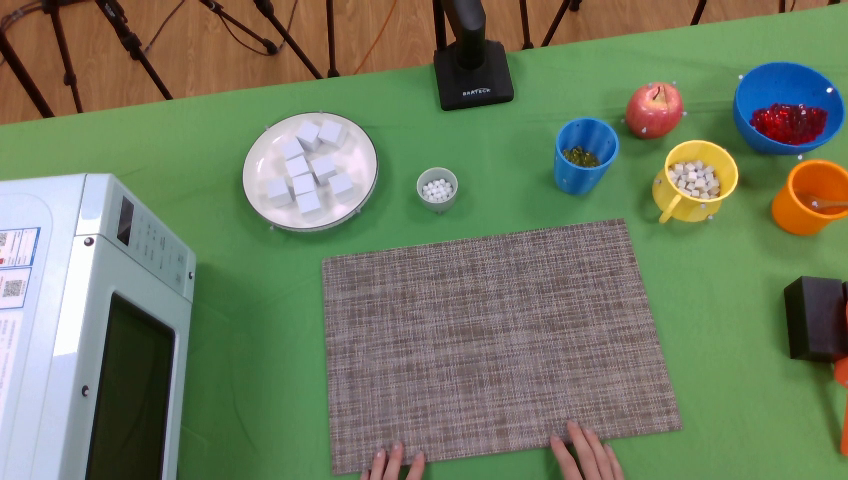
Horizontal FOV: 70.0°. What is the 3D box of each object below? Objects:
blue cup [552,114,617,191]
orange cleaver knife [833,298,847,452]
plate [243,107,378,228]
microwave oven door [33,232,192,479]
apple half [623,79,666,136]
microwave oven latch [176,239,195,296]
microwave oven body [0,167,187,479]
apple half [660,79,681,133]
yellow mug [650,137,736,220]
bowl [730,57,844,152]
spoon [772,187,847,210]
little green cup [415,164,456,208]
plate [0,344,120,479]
[{"bbox_3d":[0.225,-0.119,0.877,0.092,0.101,0.092,-1,68,3],"label":"blue cup"},{"bbox_3d":[0.529,0.154,0.751,0.012,0.077,0.211,6,97,9],"label":"orange cleaver knife"},{"bbox_3d":[-0.171,-0.109,0.933,0.207,0.039,0.206,-1,67,3],"label":"plate"},{"bbox_3d":[-0.341,0.199,0.682,0.039,0.245,0.353,-5,66,2],"label":"microwave oven door"},{"bbox_3d":[0.330,-0.199,0.920,0.053,0.075,0.080,-4,70,6],"label":"apple half"},{"bbox_3d":[-0.345,0.039,0.861,0.030,0.030,0.078,-3,67,2],"label":"microwave oven latch"},{"bbox_3d":[-0.488,0.175,0.707,0.326,0.262,0.438,-5,67,1],"label":"microwave oven body"},{"bbox_3d":[0.370,-0.201,0.916,0.033,0.082,0.080,-3,66,6],"label":"apple half"},{"bbox_3d":[0.375,-0.078,0.869,0.099,0.064,0.130,38,76,18],"label":"yellow mug"},{"bbox_3d":[0.522,-0.186,0.899,0.151,0.077,0.150,-1,68,4],"label":"bowl"},{"bbox_3d":[0.558,-0.049,0.799,0.041,0.192,0.022,-47,116,-15],"label":"spoon"},{"bbox_3d":[0.019,-0.079,0.908,0.061,0.039,0.061,-1,67,4],"label":"little green cup"},{"bbox_3d":[-0.471,0.231,0.738,0.209,0.038,0.207,-1,67,2],"label":"plate"}]
